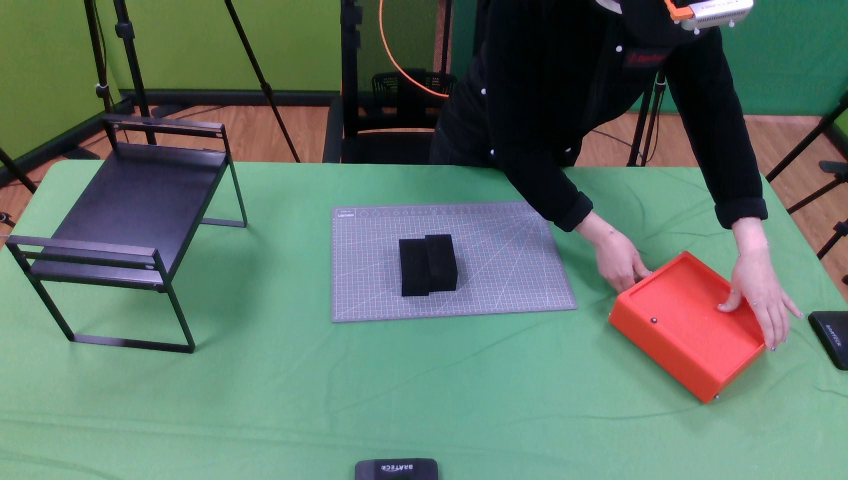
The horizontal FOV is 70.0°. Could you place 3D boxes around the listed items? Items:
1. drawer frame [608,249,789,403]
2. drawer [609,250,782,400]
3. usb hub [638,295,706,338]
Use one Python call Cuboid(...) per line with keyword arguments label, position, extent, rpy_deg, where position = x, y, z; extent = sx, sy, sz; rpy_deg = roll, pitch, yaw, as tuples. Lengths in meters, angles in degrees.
Cuboid(label="drawer frame", position=(0.470, 0.139, 1.051), extent=(0.202, 0.083, 0.212), rpy_deg=(-28, 55, -27))
Cuboid(label="drawer", position=(0.468, 0.141, 1.056), extent=(0.194, 0.073, 0.210), rpy_deg=(-27, 56, -27))
Cuboid(label="usb hub", position=(0.440, 0.135, 1.072), extent=(0.125, 0.025, 0.049), rpy_deg=(-15, 37, -30))
